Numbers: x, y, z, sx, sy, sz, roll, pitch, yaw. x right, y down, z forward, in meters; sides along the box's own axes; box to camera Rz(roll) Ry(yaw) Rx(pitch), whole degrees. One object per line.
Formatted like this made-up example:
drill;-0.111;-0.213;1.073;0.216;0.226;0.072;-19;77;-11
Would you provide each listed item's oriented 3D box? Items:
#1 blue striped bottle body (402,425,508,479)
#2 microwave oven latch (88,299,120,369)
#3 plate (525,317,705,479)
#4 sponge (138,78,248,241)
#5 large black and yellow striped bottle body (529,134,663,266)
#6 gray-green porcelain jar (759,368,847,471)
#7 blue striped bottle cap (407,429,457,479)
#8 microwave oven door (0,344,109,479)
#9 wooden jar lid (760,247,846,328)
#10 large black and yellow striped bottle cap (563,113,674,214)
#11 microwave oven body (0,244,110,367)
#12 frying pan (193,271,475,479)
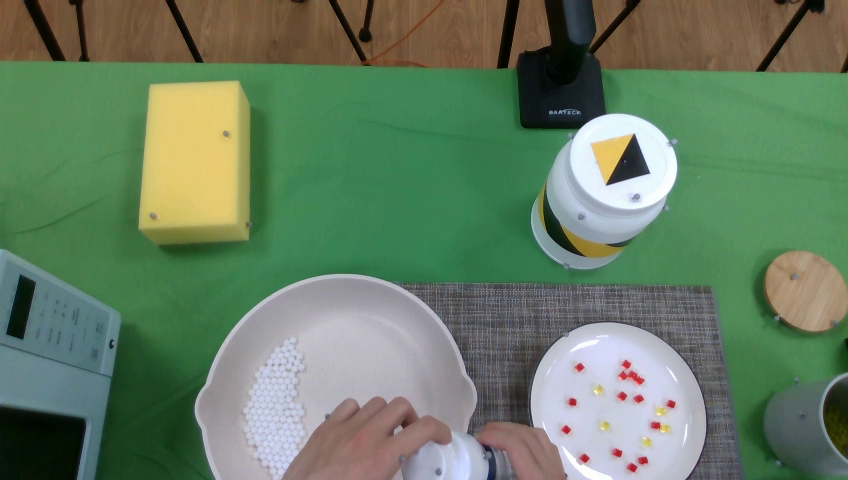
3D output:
blue striped bottle body;0.026;0.203;0.554;0.063;0.122;0.062;-11;66;27
microwave oven latch;-0.379;0.109;0.707;0.030;0.029;0.078;4;71;-1
plate;0.221;0.196;0.716;0.209;0.038;0.207;1;71;-1
sponge;-0.297;-0.106;0.792;0.118;0.061;0.205;-4;72;-4
large black and yellow striped bottle body;0.206;-0.055;0.729;0.131;0.185;0.130;1;70;-1
gray-green porcelain jar;0.453;0.204;0.679;0.106;0.127;0.105;1;70;-2
blue striped bottle cap;0.005;0.184;0.511;0.021;0.044;0.044;-1;65;-44
microwave oven door;-0.381;0.282;0.540;0.039;0.245;0.353;1;70;-2
wooden jar lid;0.487;0.062;0.786;0.108;0.021;0.107;1;72;-1
large black and yellow striped bottle cap;0.208;-0.084;0.648;0.115;0.019;0.114;1;70;-1
microwave oven body;-0.526;0.241;0.554;0.326;0.261;0.438;1;71;-2
frying pan;-0.096;0.274;0.643;0.307;0.103;0.483;-1;63;0
